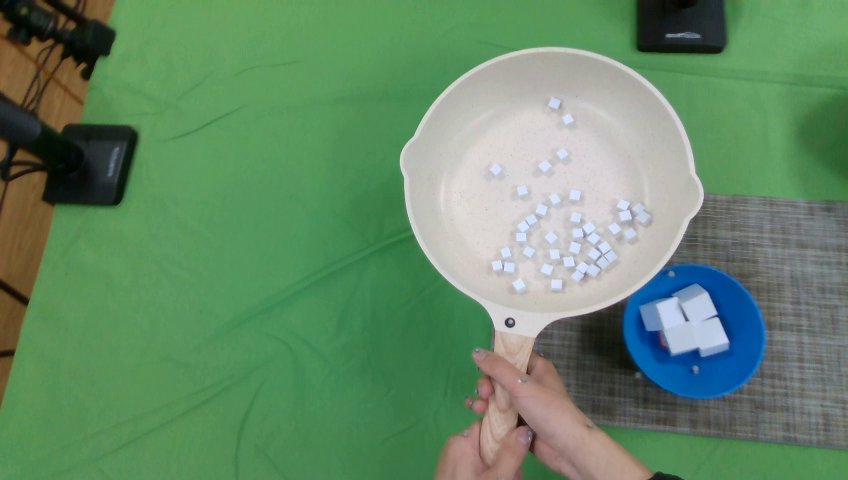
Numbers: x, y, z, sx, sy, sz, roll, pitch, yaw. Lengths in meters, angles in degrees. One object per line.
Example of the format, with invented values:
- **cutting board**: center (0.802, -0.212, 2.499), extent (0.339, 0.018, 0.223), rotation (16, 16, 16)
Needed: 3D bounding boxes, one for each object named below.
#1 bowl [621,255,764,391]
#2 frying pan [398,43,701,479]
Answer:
- **bowl**: center (0.298, 0.100, 0.699), extent (0.151, 0.077, 0.150), rotation (-2, 73, 5)
- **frying pan**: center (0.101, 0.031, 0.611), extent (0.306, 0.103, 0.485), rotation (10, 70, 13)
